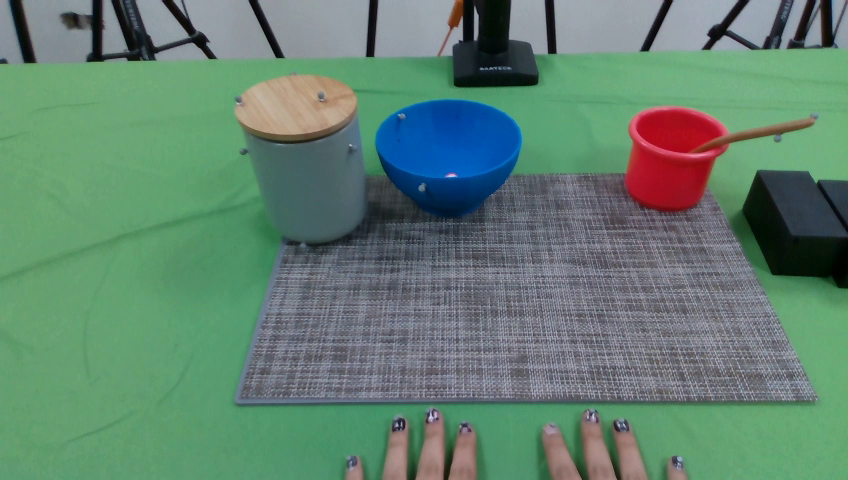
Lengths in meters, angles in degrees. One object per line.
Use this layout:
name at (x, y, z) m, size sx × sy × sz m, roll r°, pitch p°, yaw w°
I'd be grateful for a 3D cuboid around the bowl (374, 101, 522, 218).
bowl at (0.025, -0.076, 0.640) m, size 0.151 × 0.077 × 0.150 m, roll -1°, pitch 42°, yaw 1°

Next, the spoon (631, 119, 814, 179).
spoon at (0.283, -0.088, 0.595) m, size 0.041 × 0.193 × 0.021 m, roll -32°, pitch 95°, yaw -26°

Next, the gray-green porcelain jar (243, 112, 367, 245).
gray-green porcelain jar at (-0.112, -0.066, 0.598) m, size 0.106 × 0.127 × 0.105 m, roll -1°, pitch 42°, yaw 1°

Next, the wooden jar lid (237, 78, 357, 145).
wooden jar lid at (-0.115, -0.115, 0.554) m, size 0.108 × 0.021 × 0.107 m, roll 0°, pitch 41°, yaw 0°
